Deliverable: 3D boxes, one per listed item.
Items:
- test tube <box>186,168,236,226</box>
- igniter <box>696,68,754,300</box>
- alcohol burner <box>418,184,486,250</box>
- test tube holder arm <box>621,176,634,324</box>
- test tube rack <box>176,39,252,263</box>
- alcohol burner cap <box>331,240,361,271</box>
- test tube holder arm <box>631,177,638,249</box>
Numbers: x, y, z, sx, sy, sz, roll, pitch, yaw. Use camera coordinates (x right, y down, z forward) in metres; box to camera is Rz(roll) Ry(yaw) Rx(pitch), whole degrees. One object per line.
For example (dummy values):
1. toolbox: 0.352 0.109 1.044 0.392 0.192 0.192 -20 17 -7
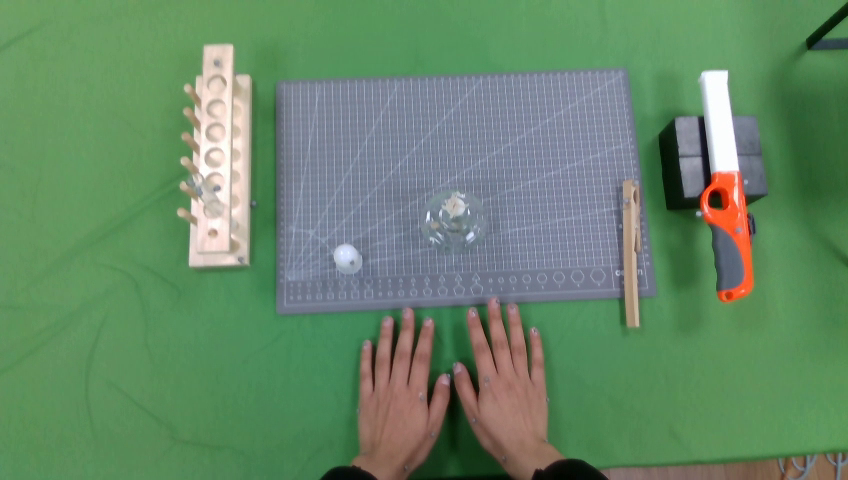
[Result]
1. test tube: -0.222 -0.042 0.640 0.017 0.151 0.017 1 75 -5
2. igniter: 0.342 -0.068 0.695 0.057 0.025 0.275 0 77 4
3. alcohol burner: 0.032 -0.029 0.678 0.078 0.119 0.077 0 79 0
4. test tube holder arm: 0.243 0.011 0.720 0.013 0.015 0.177 13 75 -29
5. test tube rack: -0.246 -0.100 0.701 0.067 0.085 0.241 -2 78 -1
6. alcohol burner cap: -0.092 0.016 0.701 0.034 0.048 0.033 0 77 -2
7. test tube holder arm: 0.251 -0.032 0.733 0.010 0.015 0.087 13 75 -29
